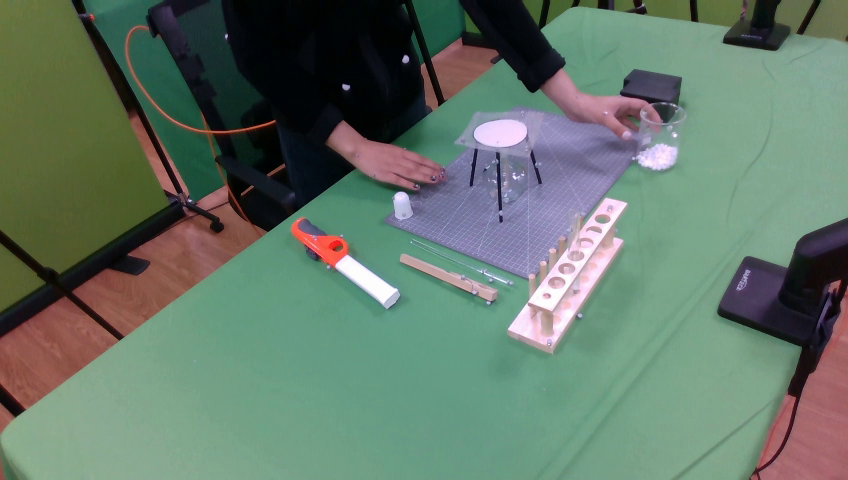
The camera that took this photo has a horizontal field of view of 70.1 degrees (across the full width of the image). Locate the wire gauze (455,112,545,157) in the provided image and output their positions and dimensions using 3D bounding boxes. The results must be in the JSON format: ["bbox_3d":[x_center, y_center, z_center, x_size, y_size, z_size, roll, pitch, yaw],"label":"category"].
[{"bbox_3d":[0.123,-0.176,0.972,0.124,0.011,0.121,9,42,20],"label":"wire gauze"}]

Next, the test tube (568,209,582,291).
[{"bbox_3d":[0.200,0.017,0.799,0.017,0.151,0.017,-8,45,8],"label":"test tube"}]

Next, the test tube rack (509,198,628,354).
[{"bbox_3d":[0.206,0.039,0.850,0.066,0.085,0.243,20,48,31],"label":"test tube rack"}]

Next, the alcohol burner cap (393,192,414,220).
[{"bbox_3d":[-0.037,-0.061,1.043,0.034,0.048,0.033,-5,41,5],"label":"alcohol burner cap"}]

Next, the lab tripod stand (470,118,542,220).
[{"bbox_3d":[0.135,-0.128,1.019,0.148,0.132,0.147,-5,38,5],"label":"lab tripod stand"}]

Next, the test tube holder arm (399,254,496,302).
[{"bbox_3d":[0.032,0.054,0.914,0.177,0.015,0.013,21,16,32],"label":"test tube holder arm"}]

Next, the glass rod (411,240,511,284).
[{"bbox_3d":[0.053,0.033,0.946,0.198,0.008,0.008,22,50,36],"label":"glass rod"}]

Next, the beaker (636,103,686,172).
[{"bbox_3d":[0.413,-0.177,1.055,0.084,0.101,0.073,-28,44,-21],"label":"beaker"}]

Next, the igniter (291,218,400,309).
[{"bbox_3d":[-0.136,0.031,0.970,0.057,0.025,0.274,-41,49,-19],"label":"igniter"}]

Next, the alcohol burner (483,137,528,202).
[{"bbox_3d":[0.138,-0.125,1.030,0.078,0.119,0.077,-4,41,4],"label":"alcohol burner"}]

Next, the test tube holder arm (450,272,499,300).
[{"bbox_3d":[0.071,0.068,0.894,0.087,0.015,0.010,21,16,32],"label":"test tube holder arm"}]
